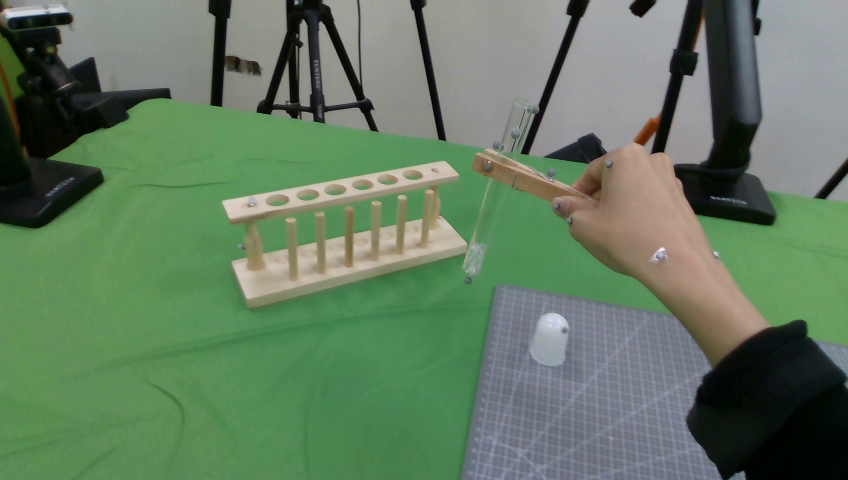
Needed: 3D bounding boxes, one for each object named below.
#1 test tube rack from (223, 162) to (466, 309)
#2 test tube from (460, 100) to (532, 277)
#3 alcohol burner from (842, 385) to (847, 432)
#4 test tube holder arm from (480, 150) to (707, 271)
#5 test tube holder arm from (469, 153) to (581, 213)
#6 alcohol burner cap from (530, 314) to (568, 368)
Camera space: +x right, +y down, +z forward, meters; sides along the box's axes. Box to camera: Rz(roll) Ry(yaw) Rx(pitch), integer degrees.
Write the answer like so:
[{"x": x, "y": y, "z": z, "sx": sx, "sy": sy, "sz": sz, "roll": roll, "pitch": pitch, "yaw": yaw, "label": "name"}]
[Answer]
[{"x": -0.073, "y": -0.010, "z": 0.628, "sx": 0.243, "sy": 0.086, "sz": 0.066, "roll": -13, "pitch": 39, "yaw": -24, "label": "test tube rack"}, {"x": 0.053, "y": -0.035, "z": 0.467, "sx": 0.017, "sy": 0.151, "sz": 0.017, "roll": 12, "pitch": 28, "yaw": -6, "label": "test tube"}, {"x": 0.381, "y": 0.116, "z": 0.470, "sx": 0.078, "sy": 0.120, "sz": 0.077, "roll": 3, "pitch": 38, "yaw": -2, "label": "alcohol burner"}, {"x": 0.113, "y": -0.025, "z": 0.432, "sx": 0.177, "sy": 0.015, "sz": 0.013, "roll": 29, "pitch": 36, "yaw": 24, "label": "test tube holder arm"}, {"x": 0.074, "y": -0.042, "z": 0.445, "sx": 0.087, "sy": 0.015, "sz": 0.010, "roll": 25, "pitch": 34, "yaw": 19, "label": "test tube holder arm"}, {"x": 0.114, "y": 0.087, "z": 0.544, "sx": 0.034, "sy": 0.048, "sz": 0.033, "roll": 3, "pitch": 36, "yaw": -2, "label": "alcohol burner cap"}]
